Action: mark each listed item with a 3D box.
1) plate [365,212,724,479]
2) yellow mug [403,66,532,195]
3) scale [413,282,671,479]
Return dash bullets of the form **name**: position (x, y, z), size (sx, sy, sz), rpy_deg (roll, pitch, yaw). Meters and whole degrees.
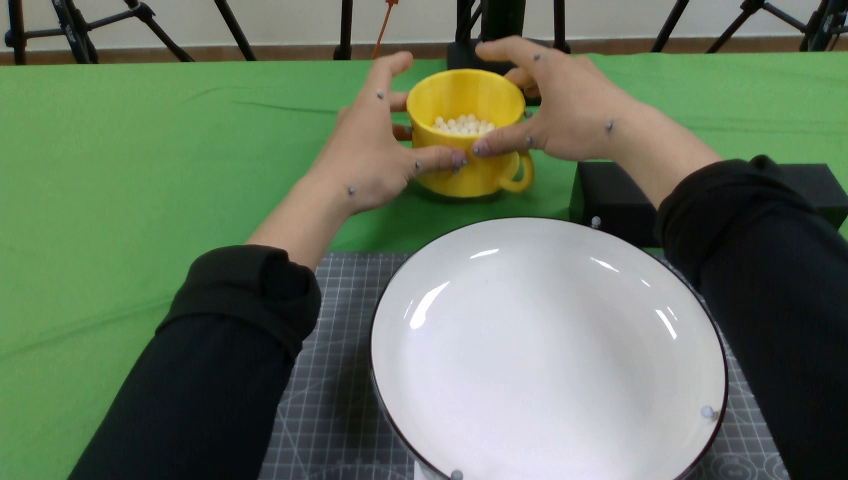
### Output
- **plate**: position (0.069, 0.067, 0.370), size (0.209, 0.038, 0.207), rpy_deg (0, 47, 0)
- **yellow mug**: position (0.043, -0.088, 0.518), size (0.100, 0.064, 0.129), rpy_deg (-33, 56, -26)
- **scale**: position (0.068, 0.111, 0.374), size (0.149, 0.032, 0.199), rpy_deg (0, 47, 1)
